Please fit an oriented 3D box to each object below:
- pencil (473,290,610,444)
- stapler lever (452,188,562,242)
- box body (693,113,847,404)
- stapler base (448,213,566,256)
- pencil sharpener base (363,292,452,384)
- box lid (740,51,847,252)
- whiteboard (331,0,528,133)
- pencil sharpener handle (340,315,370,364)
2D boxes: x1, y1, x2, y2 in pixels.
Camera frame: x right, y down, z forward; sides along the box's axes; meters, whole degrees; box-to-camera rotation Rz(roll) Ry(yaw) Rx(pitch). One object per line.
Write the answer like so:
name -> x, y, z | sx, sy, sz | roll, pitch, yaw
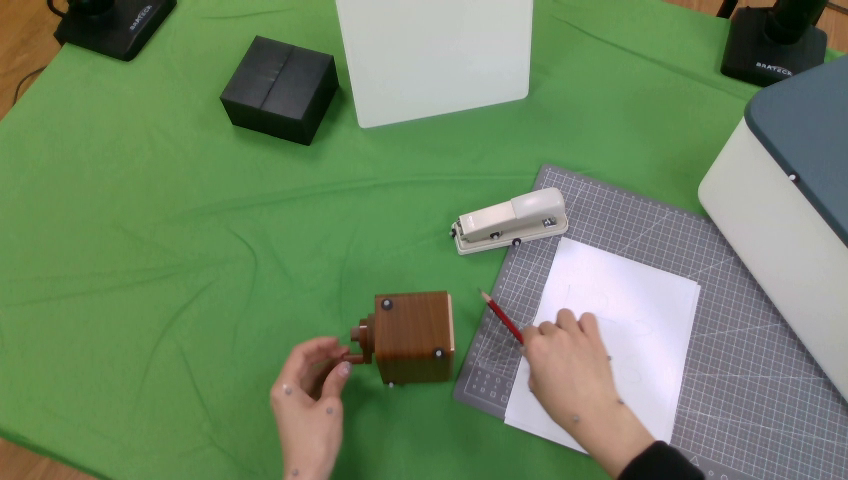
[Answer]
pencil -> 0.112, 0.121, 0.598 | 0.012, 0.012, 0.193 | -36, 73, -16
stapler lever -> 0.090, -0.027, 0.651 | 0.118, 0.040, 0.026 | -12, 61, -3
box body -> 0.479, 0.004, 0.590 | 0.254, 0.161, 0.361 | -23, 67, -12
stapler base -> 0.093, -0.017, 0.673 | 0.130, 0.024, 0.041 | -13, 61, -3
pencil sharpener base -> -0.015, 0.096, 0.574 | 0.077, 0.108, 0.061 | -3, 65, -1
box lid -> 0.479, -0.030, 0.524 | 0.263, 0.015, 0.368 | -23, 68, -12
whiteboard -> -0.004, -0.307, 0.691 | 0.217, 0.308, 0.142 | -11, 46, -5
pencil sharpener handle -> -0.066, 0.096, 0.559 | 0.030, 0.068, 0.035 | -3, 50, -1
